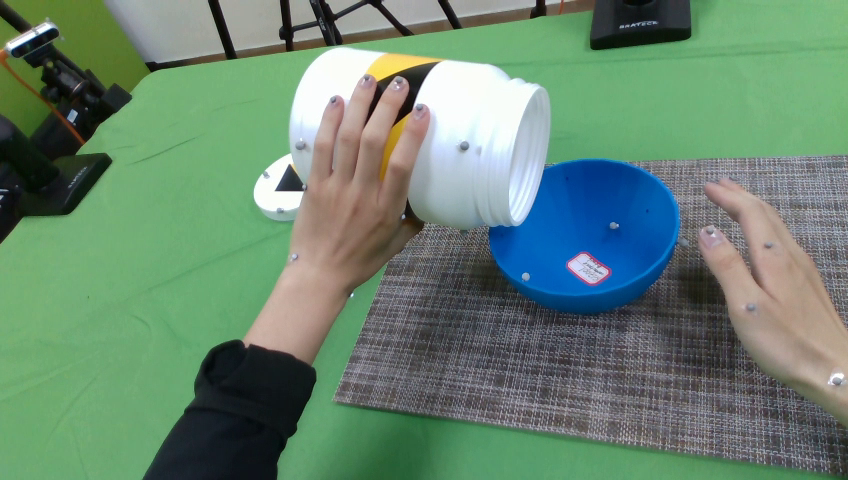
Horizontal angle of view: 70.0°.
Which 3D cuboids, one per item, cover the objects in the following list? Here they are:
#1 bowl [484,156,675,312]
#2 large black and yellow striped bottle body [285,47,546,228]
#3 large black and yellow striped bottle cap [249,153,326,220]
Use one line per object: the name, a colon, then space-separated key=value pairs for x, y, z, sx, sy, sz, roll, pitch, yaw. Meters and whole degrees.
bowl: x=0.132 y=0.008 z=0.514 sx=0.151 sy=0.077 sz=0.150 roll=-11 pitch=47 yaw=12
large black and yellow striped bottle body: x=-0.003 y=-0.083 z=0.496 sx=0.183 sy=0.132 sz=0.130 roll=13 pitch=55 yaw=21
large black and yellow striped bottle cap: x=-0.162 y=-0.071 z=0.754 sx=0.115 sy=0.019 sz=0.114 roll=-10 pitch=47 yaw=11
